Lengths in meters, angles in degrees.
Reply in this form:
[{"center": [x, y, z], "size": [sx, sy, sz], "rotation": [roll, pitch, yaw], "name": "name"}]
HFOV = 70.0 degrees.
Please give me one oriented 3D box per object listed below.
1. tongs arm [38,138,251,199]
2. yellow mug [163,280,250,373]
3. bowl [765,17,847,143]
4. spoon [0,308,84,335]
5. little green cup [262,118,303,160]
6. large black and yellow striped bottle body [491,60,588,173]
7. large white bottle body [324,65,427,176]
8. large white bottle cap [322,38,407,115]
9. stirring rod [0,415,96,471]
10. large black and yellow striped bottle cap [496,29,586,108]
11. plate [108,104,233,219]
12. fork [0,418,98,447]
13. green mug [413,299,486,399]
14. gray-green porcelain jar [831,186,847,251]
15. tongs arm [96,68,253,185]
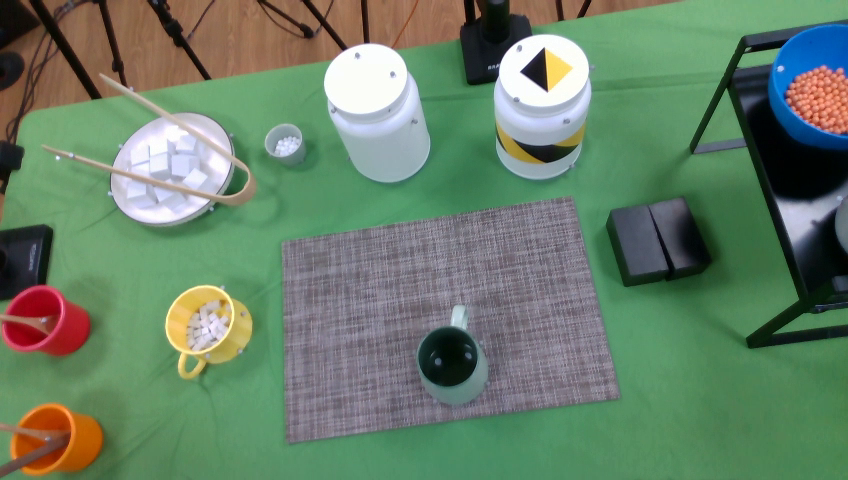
[{"center": [-0.450, -0.125, 0.961], "size": [0.383, 0.027, 0.050], "rotation": [18, 68, 16], "name": "tongs arm"}, {"center": [-0.316, 0.127, 0.864], "size": [0.099, 0.064, 0.130], "rotation": [16, 72, 12], "name": "yellow mug"}, {"center": [0.453, -0.164, 0.679], "size": [0.151, 0.077, 0.150], "rotation": [-2, 69, 6], "name": "bowl"}, {"center": [-0.597, 0.105, 0.867], "size": [0.195, 0.021, 0.041], "rotation": [16, 62, -33], "name": "spoon"}, {"center": [-0.227, -0.162, 0.982], "size": [0.061, 0.039, 0.061], "rotation": [-2, 69, 6], "name": "little green cup"}, {"center": [0.162, -0.192, 0.865], "size": [0.130, 0.185, 0.130], "rotation": [-3, 68, 7], "name": "large black and yellow striped bottle body"}, {"center": [-0.070, -0.191, 0.893], "size": [0.130, 0.186, 0.129], "rotation": [-3, 68, 7], "name": "large white bottle body"}, {"center": [-0.081, -0.222, 0.815], "size": [0.115, 0.018, 0.114], "rotation": [-3, 69, 7], "name": "large white bottle cap"}, {"center": [-0.519, 0.277, 0.791], "size": [0.014, 0.006, 0.176], "rotation": [42, 36, 18], "name": "stirring rod"}, {"center": [0.151, -0.225, 0.788], "size": [0.115, 0.019, 0.114], "rotation": [-2, 69, 5], "name": "large black and yellow striped bottle cap"}, {"center": [-0.409, -0.125, 0.991], "size": [0.207, 0.039, 0.206], "rotation": [-2, 68, 6], "name": "plate"}, {"center": [-0.544, 0.244, 0.801], "size": [0.209, 0.018, 0.028], "rotation": [25, 63, -30], "name": "fork"}, {"center": [0.035, 0.139, 0.789], "size": [0.092, 0.106, 0.124], "rotation": [7, 69, 11], "name": "green mug"}, {"center": [0.481, -0.035, 0.598], "size": [0.106, 0.127, 0.105], "rotation": [-3, 67, 7], "name": "gray-green porcelain jar"}, {"center": [-0.411, -0.194, 0.986], "size": [0.385, 0.028, 0.028], "rotation": [32, 69, 20], "name": "tongs arm"}]
